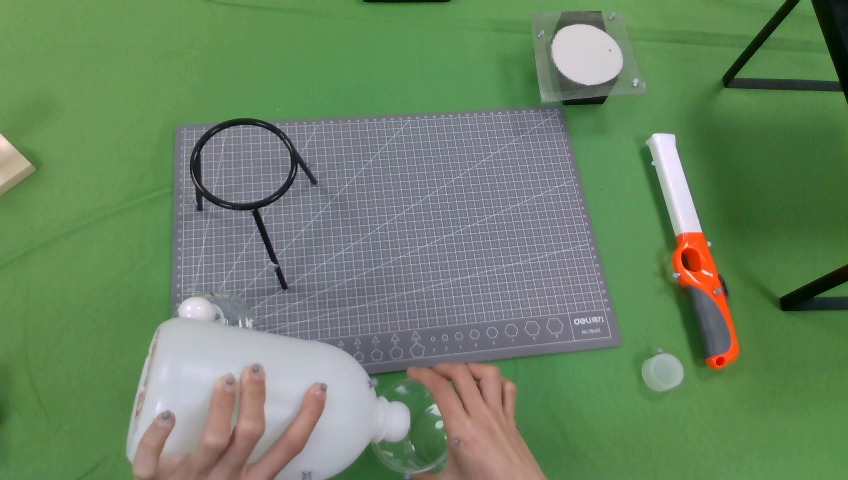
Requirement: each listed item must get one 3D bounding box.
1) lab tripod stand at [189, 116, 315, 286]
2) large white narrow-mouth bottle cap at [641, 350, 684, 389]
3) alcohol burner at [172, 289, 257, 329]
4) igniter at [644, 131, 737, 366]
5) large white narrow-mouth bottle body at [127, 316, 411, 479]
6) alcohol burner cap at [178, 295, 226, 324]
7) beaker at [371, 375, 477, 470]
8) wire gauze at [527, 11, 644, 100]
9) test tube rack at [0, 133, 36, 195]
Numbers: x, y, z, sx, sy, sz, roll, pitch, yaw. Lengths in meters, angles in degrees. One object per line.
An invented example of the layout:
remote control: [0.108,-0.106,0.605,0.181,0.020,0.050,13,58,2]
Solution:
lab tripod stand: [-0.159,-0.041,0.581,0.149,0.132,0.147,3,68,-7]
large white narrow-mouth bottle cap: [0.243,0.133,0.620,0.038,0.024,0.037,2,67,-4]
alcohol burner: [-0.191,0.076,0.541,0.078,0.120,0.077,3,66,-7]
igniter: [0.294,0.001,0.673,0.057,0.025,0.274,0,68,-18]
large white narrow-mouth bottle body: [-0.101,0.121,0.441,0.196,0.102,0.101,16,65,-25]
alcohol burner cap: [-0.188,0.063,0.508,0.034,0.048,0.033,2,73,-5]
beaker: [0.002,0.163,0.532,0.083,0.101,0.073,12,72,21]
wire gauze: [0.186,-0.219,0.709,0.122,0.011,0.124,-3,69,-7]
test tube rack: [-0.511,-0.032,0.568,0.066,0.085,0.242,41,70,11]
